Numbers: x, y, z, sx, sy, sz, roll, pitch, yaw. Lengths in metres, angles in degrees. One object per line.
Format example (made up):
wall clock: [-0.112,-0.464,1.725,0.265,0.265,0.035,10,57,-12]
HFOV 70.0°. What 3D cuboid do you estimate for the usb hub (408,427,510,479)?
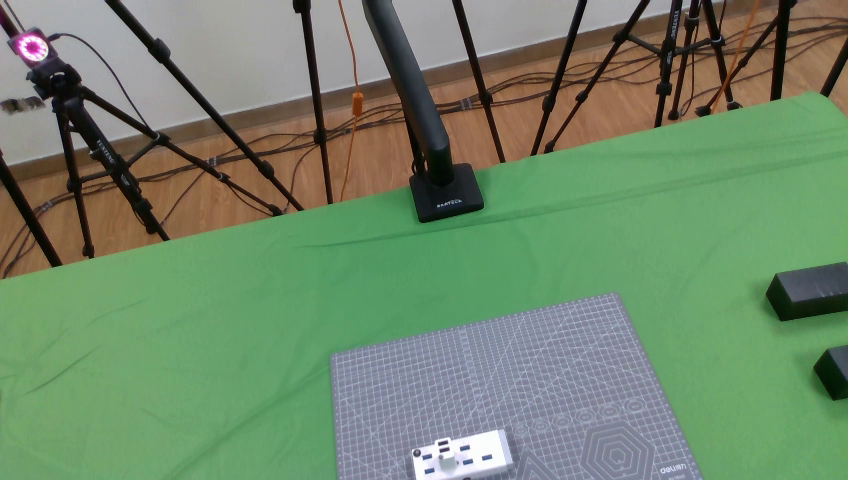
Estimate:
usb hub: [0.044,0.280,0.785,0.125,0.025,0.049,-13,50,-1]

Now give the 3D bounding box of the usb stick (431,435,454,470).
usb stick: [0.024,0.269,0.760,0.021,0.060,0.027,-16,48,-3]
